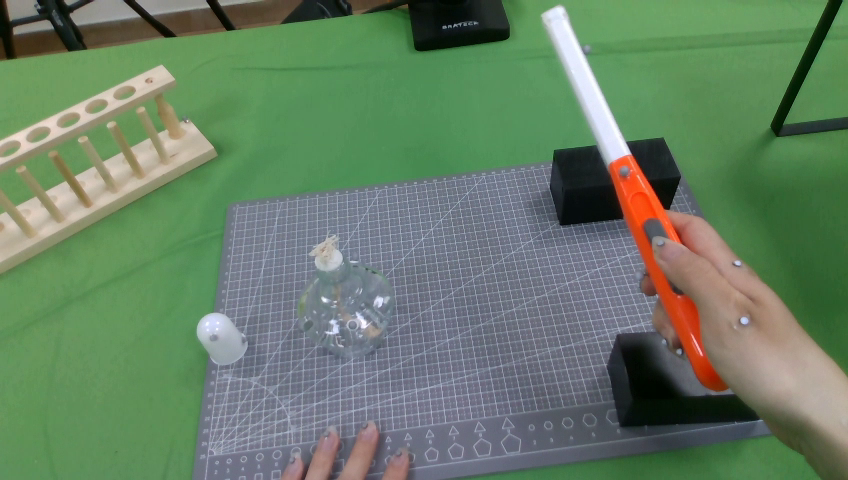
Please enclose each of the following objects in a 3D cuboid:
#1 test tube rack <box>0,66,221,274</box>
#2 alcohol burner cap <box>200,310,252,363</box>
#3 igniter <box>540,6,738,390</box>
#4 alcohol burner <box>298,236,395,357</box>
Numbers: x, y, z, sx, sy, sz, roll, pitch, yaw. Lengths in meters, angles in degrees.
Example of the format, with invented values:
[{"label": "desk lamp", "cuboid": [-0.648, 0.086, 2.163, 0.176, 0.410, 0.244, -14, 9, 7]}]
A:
[{"label": "test tube rack", "cuboid": [-0.340, -0.074, 0.608, 0.242, 0.086, 0.066, -34, 57, -19]}, {"label": "alcohol burner cap", "cuboid": [-0.165, 0.077, 0.498, 0.034, 0.048, 0.033, -3, 53, 4]}, {"label": "igniter", "cuboid": [0.133, -0.038, 0.393, 0.025, 0.058, 0.274, -23, 68, 14]}, {"label": "alcohol burner", "cuboid": [-0.063, 0.040, 0.471, 0.078, 0.120, 0.077, -3, 50, 4]}]
